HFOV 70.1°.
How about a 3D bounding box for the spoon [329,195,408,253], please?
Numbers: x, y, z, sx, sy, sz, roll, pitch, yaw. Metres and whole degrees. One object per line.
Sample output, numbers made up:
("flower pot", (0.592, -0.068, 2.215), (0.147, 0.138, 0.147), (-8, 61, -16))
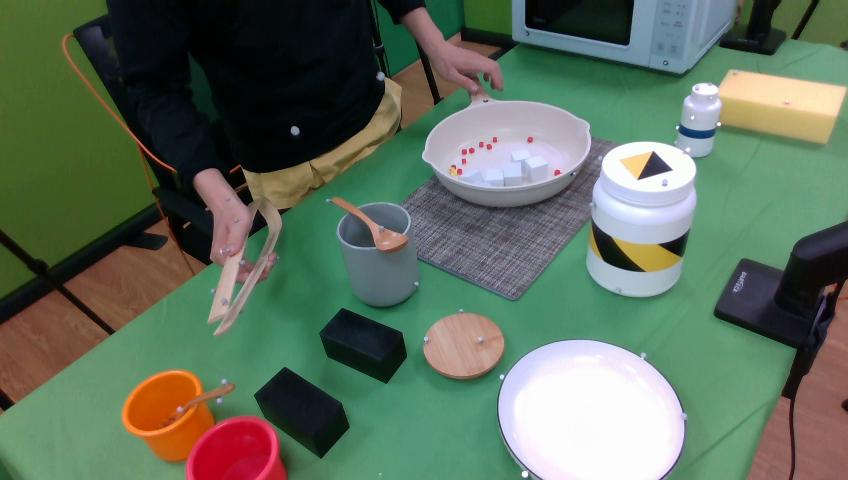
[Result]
("spoon", (-0.082, -0.029, 0.828), (0.042, 0.022, 0.192), (-33, 44, -19))

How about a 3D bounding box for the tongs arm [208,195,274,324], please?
("tongs arm", (-0.246, 0.016, 0.844), (0.026, 0.051, 0.382), (-31, 28, 7))

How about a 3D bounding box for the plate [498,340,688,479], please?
("plate", (0.189, 0.206, 0.692), (0.207, 0.039, 0.206), (-4, 40, 4))

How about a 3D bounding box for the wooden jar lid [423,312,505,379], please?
("wooden jar lid", (0.053, 0.142, 0.800), (0.108, 0.021, 0.108), (-5, 39, 4))

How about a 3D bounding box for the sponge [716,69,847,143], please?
("sponge", (0.663, -0.256, 1.142), (0.205, 0.061, 0.118), (19, 47, 28))

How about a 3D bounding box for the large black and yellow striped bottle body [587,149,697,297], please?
("large black and yellow striped bottle body", (0.298, -0.026, 0.834), (0.131, 0.185, 0.130), (-4, 41, 4))

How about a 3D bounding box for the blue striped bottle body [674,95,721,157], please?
("blue striped bottle body", (0.486, -0.213, 1.072), (0.063, 0.121, 0.063), (-4, 41, 4))

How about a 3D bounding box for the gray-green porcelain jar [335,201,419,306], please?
("gray-green porcelain jar", (-0.064, 0.024, 0.872), (0.106, 0.127, 0.105), (-4, 41, 4))

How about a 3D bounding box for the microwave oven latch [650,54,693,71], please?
("microwave oven latch", (0.531, -0.386, 1.301), (0.078, 0.029, 0.030), (26, 51, 33))

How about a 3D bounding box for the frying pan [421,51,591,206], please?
("frying pan", (0.127, -0.233, 1.155), (0.307, 0.103, 0.484), (-11, 49, -5))

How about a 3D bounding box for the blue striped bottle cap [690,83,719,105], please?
("blue striped bottle cap", (0.481, -0.251, 1.038), (0.044, 0.021, 0.044), (-5, 39, 5))

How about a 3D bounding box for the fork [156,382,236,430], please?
("fork", (-0.262, 0.189, 0.690), (0.018, 0.206, 0.028), (49, 43, -6))

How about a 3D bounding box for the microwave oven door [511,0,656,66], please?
("microwave oven door", (0.351, -0.540, 1.349), (0.353, 0.245, 0.039), (24, 50, 31))

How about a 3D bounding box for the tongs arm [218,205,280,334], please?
("tongs arm", (-0.239, 0.027, 0.849), (0.028, 0.028, 0.385), (-34, 21, 8))

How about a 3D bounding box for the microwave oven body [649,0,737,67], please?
("microwave oven body", (0.475, -0.602, 1.411), (0.438, 0.261, 0.327), (23, 50, 32))

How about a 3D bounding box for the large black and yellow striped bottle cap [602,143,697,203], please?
("large black and yellow striped bottle cap", (0.289, -0.088, 0.779), (0.115, 0.019, 0.114), (-4, 40, 4))
